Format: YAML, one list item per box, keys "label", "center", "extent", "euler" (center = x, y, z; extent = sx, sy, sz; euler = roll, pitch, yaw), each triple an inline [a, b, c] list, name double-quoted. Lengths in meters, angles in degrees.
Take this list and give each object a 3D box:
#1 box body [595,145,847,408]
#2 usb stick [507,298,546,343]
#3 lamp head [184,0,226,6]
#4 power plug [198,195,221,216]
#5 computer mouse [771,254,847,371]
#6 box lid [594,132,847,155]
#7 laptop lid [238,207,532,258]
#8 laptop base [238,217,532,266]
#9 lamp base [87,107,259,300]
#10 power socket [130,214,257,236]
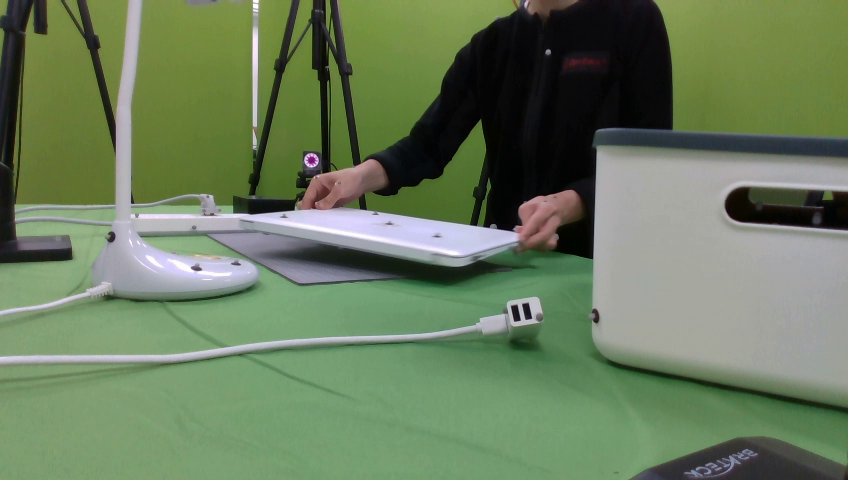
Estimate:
- label: "box body"
  center: [0.309, 0.006, 0.510]
  extent: [0.253, 0.160, 0.366]
  euler: [6, 8, 29]
- label: "usb stick"
  center: [0.079, 0.065, 0.470]
  extent: [0.027, 0.021, 0.059]
  euler: [-12, -24, 4]
- label: "lamp head"
  center: [-0.229, -0.320, 0.627]
  extent: [0.112, 0.112, 0.123]
  euler: [6, -35, 26]
- label: "power plug"
  center: [-0.385, -0.055, 1.088]
  extent: [0.035, 0.052, 0.072]
  euler: [-1, 6, -24]
- label: "computer mouse"
  center: [0.344, 0.057, 0.518]
  extent: [0.063, 0.041, 0.117]
  euler: [12, 47, 3]
- label: "box lid"
  center: [0.310, -0.066, 0.499]
  extent: [0.262, 0.015, 0.373]
  euler: [7, 8, 29]
- label: "laptop lid"
  center: [-0.052, -0.018, 0.847]
  extent: [0.355, 0.013, 0.243]
  euler: [10, 11, 32]
- label: "laptop base"
  center: [-0.054, -0.007, 0.847]
  extent: [0.353, 0.023, 0.236]
  euler: [9, 9, 30]
- label: "lamp base"
  center: [-0.254, -0.039, 0.603]
  extent: [0.160, 0.180, 0.179]
  euler: [5, 10, 18]
- label: "power socket"
  center: [-0.397, -0.028, 1.048]
  extent: [0.228, 0.032, 0.072]
  euler: [-3, 8, -35]
